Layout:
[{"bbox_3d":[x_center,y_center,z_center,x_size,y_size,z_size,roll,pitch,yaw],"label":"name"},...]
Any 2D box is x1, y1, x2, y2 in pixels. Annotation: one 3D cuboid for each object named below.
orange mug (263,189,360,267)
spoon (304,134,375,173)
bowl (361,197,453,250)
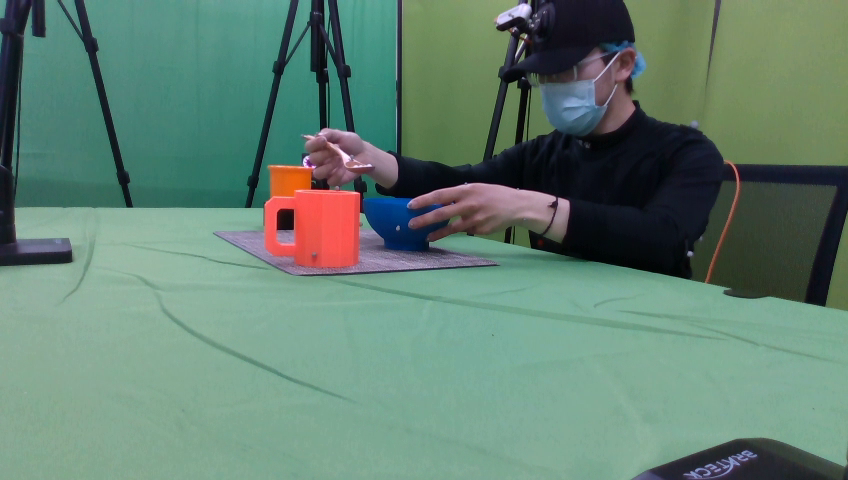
[{"bbox_3d":[-0.147,-0.019,0.794,0.127,0.100,0.083,5,6,-20],"label":"orange mug"},{"bbox_3d":[-0.139,-0.140,0.952,0.042,0.021,0.192,-11,33,-36],"label":"spoon"},{"bbox_3d":[-0.028,-0.027,0.985,0.151,0.077,0.151,2,8,0],"label":"bowl"}]
